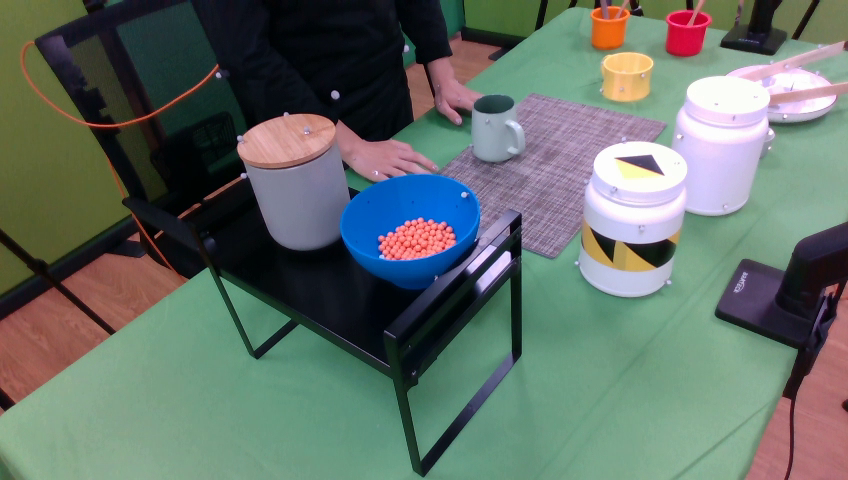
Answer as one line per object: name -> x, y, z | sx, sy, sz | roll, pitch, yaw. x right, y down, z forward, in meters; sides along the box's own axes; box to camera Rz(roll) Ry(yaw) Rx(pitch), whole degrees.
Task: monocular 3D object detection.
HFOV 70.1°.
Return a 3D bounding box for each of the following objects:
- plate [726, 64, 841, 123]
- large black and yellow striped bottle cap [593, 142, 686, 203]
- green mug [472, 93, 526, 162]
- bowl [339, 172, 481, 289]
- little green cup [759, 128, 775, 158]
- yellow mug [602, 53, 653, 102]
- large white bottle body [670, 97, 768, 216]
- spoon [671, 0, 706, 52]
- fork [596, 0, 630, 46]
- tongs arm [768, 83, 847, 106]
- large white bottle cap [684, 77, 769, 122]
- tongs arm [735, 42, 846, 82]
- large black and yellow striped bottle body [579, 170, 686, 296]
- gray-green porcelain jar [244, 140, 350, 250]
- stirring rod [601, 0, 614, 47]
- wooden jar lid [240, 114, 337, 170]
plate -> 0.694, -0.282, 1.189 | 0.207, 0.039, 0.206 | -4, 40, 4
large black and yellow striped bottle cap -> 0.280, -0.090, 0.786 | 0.115, 0.019, 0.114 | -5, 41, 5
green mug -> 0.143, -0.202, 1.122 | 0.093, 0.105, 0.124 | -29, 45, -23
bowl -> -0.011, 0.001, 0.660 | 0.151, 0.077, 0.150 | -5, 41, 5
little green cup -> 0.588, -0.175, 1.080 | 0.061, 0.039, 0.061 | -5, 40, 5
yellow mug -> 0.423, -0.354, 1.292 | 0.100, 0.064, 0.129 | -23, 42, -16
large white bottle body -> 0.458, -0.146, 0.952 | 0.130, 0.185, 0.130 | -4, 40, 4
spoon -> 0.629, -0.520, 1.394 | 0.041, 0.022, 0.193 | 30, 96, 34
fork -> 0.481, -0.556, 1.453 | 0.028, 0.019, 0.207 | 40, 103, 38
tongs arm -> 0.734, -0.280, 1.133 | 0.388, 0.028, 0.028 | -9, 47, -5
large white bottle cap -> 0.448, -0.210, 0.898 | 0.115, 0.018, 0.114 | -4, 40, 4
tongs arm -> 0.708, -0.331, 1.193 | 0.386, 0.026, 0.050 | -18, 45, -15
large black and yellow striped bottle body -> 0.287, -0.027, 0.842 | 0.131, 0.185, 0.130 | -4, 41, 4
gray-green porcelain jar -> -0.144, -0.060, 0.714 | 0.106, 0.127, 0.105 | -4, 41, 4
stirring rod -> 0.439, -0.552, 1.463 | 0.014, 0.006, 0.175 | -7, 83, 3
wooden jar lid -> -0.149, -0.106, 0.673 | 0.108, 0.021, 0.108 | -6, 39, 5
